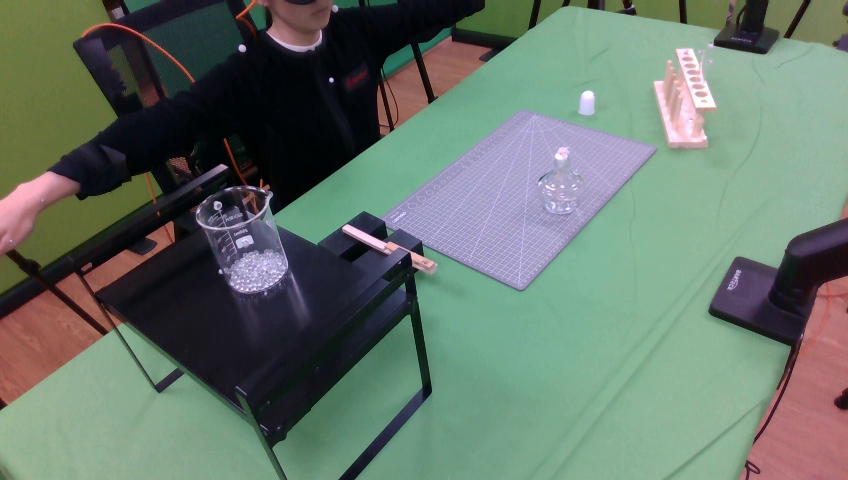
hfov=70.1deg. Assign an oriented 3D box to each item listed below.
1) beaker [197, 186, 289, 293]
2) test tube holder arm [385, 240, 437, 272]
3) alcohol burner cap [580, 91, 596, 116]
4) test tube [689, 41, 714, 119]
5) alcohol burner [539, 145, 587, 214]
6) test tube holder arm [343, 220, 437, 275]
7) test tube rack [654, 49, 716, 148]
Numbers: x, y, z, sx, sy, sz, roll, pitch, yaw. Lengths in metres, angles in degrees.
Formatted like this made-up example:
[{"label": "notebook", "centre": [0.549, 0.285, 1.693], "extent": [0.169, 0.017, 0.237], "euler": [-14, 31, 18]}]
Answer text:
[{"label": "beaker", "centre": [-0.192, 0.001, 0.666], "extent": [0.084, 0.101, 0.073], "euler": [-33, 47, -27]}, {"label": "test tube holder arm", "centre": [-0.020, 0.022, 0.872], "extent": [0.087, 0.010, 0.015], "euler": [26, 58, 31]}, {"label": "alcohol burner cap", "centre": [0.338, -0.283, 1.238], "extent": [0.034, 0.048, 0.033], "euler": [-4, 42, 4]}, {"label": "test tube", "centre": [0.509, -0.291, 1.111], "extent": [0.017, 0.151, 0.017], "euler": [-3, 39, 3]}, {"label": "alcohol burner", "centre": [0.226, -0.102, 0.986], "extent": [0.078, 0.119, 0.077], "euler": [-6, 41, 6]}, {"label": "test tube holder arm", "centre": [-0.054, 0.009, 0.899], "extent": [0.177, 0.013, 0.015], "euler": [26, 58, 30]}, {"label": "test tube rack", "centre": [0.502, -0.281, 1.176], "extent": [0.066, 0.085, 0.241], "euler": [1, 41, 11]}]
